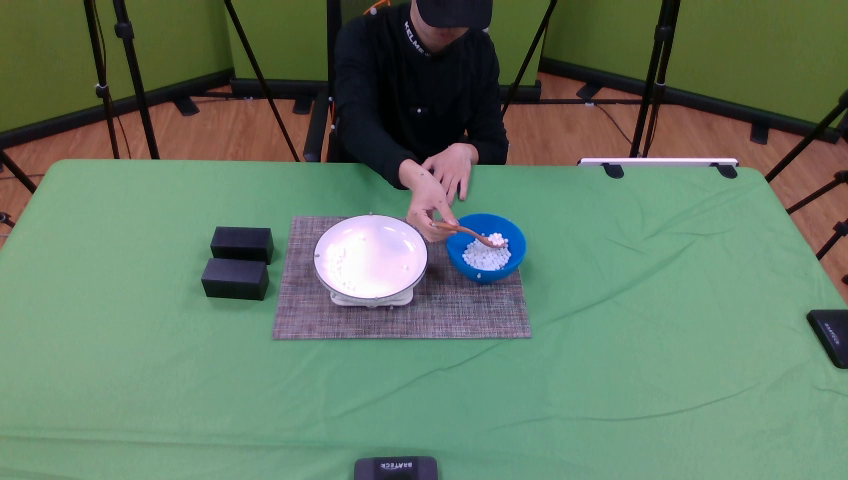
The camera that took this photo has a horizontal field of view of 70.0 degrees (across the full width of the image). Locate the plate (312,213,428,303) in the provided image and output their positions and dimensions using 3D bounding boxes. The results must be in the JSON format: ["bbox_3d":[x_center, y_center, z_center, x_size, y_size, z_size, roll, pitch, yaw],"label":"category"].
[{"bbox_3d":[-0.097,0.036,1.100,0.209,0.038,0.208,2,46,-2],"label":"plate"}]

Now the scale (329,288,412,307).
[{"bbox_3d":[-0.099,0.042,1.140,0.149,0.032,0.199,1,46,-4],"label":"scale"}]

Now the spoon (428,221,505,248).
[{"bbox_3d":[0.077,-0.013,1.078,0.195,0.021,0.041,18,16,-43],"label":"spoon"}]

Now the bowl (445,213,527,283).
[{"bbox_3d":[0.112,0.028,1.137,0.151,0.077,0.150,2,46,-2],"label":"bowl"}]
